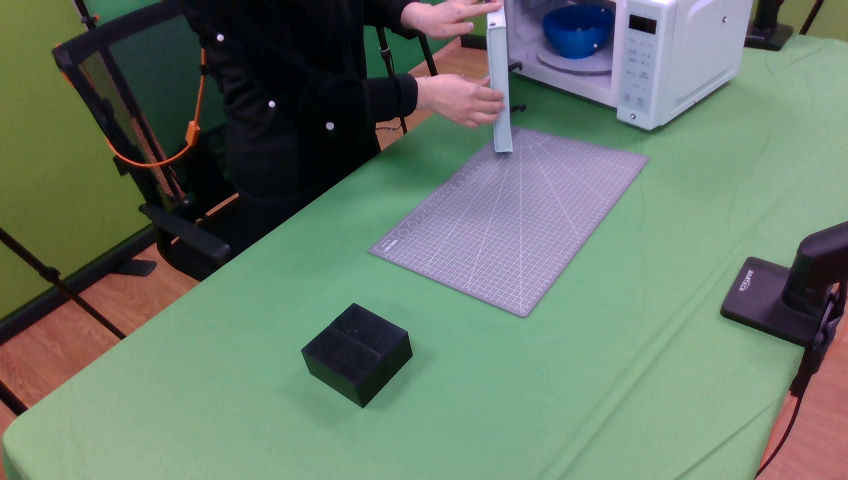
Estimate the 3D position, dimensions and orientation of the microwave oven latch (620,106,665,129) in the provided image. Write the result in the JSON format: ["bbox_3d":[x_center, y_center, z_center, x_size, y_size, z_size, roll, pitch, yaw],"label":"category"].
[{"bbox_3d":[0.413,-0.237,1.146,0.030,0.029,0.078,-31,44,-23],"label":"microwave oven latch"}]

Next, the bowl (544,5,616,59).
[{"bbox_3d":[0.332,-0.441,1.302,0.151,0.077,0.150,-3,39,3],"label":"bowl"}]

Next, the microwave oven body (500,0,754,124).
[{"bbox_3d":[0.402,-0.458,1.259,0.327,0.261,0.437,-33,45,-24],"label":"microwave oven body"}]

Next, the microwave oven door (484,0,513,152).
[{"bbox_3d":[0.145,-0.373,1.201,0.039,0.245,0.354,-4,40,7],"label":"microwave oven door"}]
